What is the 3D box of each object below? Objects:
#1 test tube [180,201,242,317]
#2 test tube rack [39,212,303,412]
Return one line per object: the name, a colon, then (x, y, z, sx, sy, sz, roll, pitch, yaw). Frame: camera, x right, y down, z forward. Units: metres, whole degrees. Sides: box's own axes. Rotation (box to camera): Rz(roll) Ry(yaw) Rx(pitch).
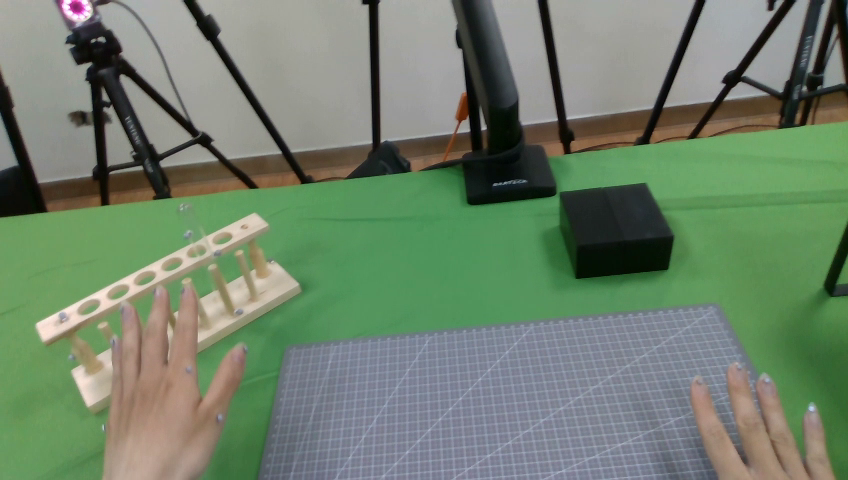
test tube: (-0.220, 0.023, 0.631, 0.017, 0.152, 0.017, -6, 37, 5)
test tube rack: (-0.260, 0.070, 0.652, 0.242, 0.086, 0.066, -31, 44, -25)
